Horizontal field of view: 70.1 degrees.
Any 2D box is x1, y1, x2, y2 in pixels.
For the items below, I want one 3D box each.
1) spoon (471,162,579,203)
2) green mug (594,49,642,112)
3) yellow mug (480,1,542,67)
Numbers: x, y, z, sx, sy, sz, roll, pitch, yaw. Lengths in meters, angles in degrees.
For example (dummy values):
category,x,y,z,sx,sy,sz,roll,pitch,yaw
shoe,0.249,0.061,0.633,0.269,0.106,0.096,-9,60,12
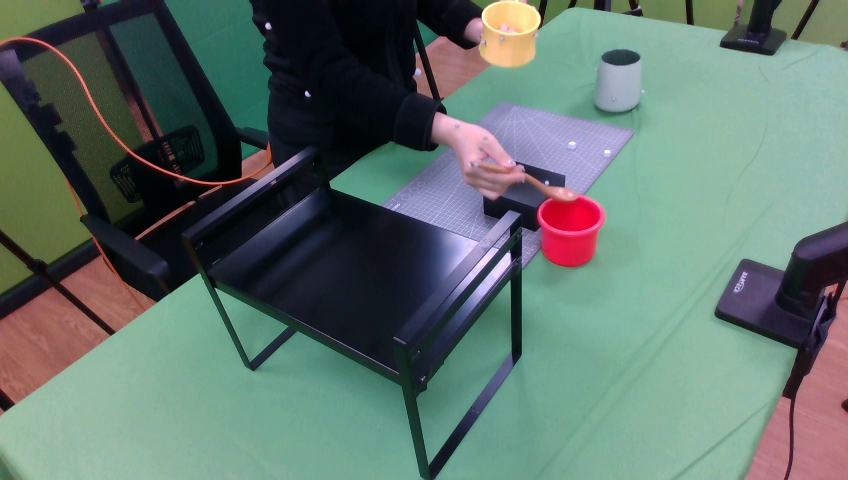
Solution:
category,x,y,z,sx,sy,sz,roll,pitch,yaw
spoon,0.146,-0.084,0.857,0.195,0.021,0.041,17,25,-31
green mug,0.397,-0.333,1.240,0.092,0.105,0.125,-3,41,7
yellow mug,0.153,-0.369,1.056,0.100,0.064,0.130,11,53,7
